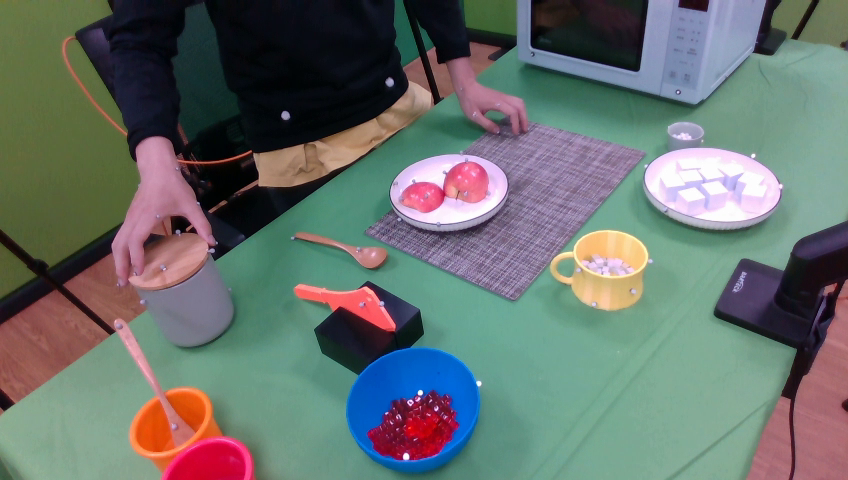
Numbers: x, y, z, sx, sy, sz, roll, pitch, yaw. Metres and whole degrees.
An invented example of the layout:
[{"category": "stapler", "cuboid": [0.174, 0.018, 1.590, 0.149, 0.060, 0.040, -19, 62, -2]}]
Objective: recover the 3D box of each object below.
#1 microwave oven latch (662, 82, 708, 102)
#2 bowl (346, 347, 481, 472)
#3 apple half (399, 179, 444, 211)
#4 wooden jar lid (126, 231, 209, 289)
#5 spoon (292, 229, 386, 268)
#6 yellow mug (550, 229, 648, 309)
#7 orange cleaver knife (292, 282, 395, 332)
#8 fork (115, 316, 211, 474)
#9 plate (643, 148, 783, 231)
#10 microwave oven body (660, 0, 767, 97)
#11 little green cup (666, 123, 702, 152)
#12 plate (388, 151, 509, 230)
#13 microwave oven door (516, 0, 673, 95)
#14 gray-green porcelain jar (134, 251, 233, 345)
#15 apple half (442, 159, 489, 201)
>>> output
[{"category": "microwave oven latch", "cuboid": [0.517, -0.298, 1.203, 0.078, 0.029, 0.030, 28, 53, 35]}, {"category": "bowl", "cuboid": [-0.008, 0.205, 0.691, 0.151, 0.077, 0.150, -4, 40, 4]}, {"category": "apple half", "cuboid": [-0.004, -0.087, 1.045, 0.081, 0.033, 0.081, -2, 42, 2]}, {"category": "wooden jar lid", "cuboid": [-0.340, 0.030, 0.809, 0.108, 0.021, 0.108, -5, 39, 5]}, {"category": "spoon", "cuboid": [-0.141, 0.007, 0.982, 0.192, 0.022, 0.041, 17, 68, 25]}, {"category": "yellow mug", "cuboid": [0.245, 0.040, 0.857, 0.130, 0.064, 0.099, 1, 42, 11]}, {"category": "orange cleaver knife", "cuboid": [-0.116, 0.091, 0.835, 0.209, 0.077, 0.012, 2, 32, 48]}, {"category": "fork", "cuboid": [-0.308, 0.179, 0.708, 0.028, 0.018, 0.207, -30, 89, -22]}, {"category": "plate", "cuboid": [0.464, -0.080, 0.986, 0.207, 0.039, 0.206, -4, 41, 4]}, {"category": "microwave oven body", "cuboid": [0.473, -0.517, 1.314, 0.438, 0.261, 0.327, 26, 51, 34]}, {"category": "little green cup", "cuboid": [0.472, -0.183, 1.102, 0.061, 0.039, 0.061, -5, 40, 5]}, {"category": "plate", "cuboid": [0.044, -0.082, 1.042, 0.209, 0.038, 0.208, -4, 40, 4]}, {"category": "microwave oven door", "cuboid": [0.344, -0.458, 1.256, 0.353, 0.245, 0.039, 26, 51, 33]}, {"category": "gray-green porcelain jar", "cuboid": [-0.334, 0.076, 0.849, 0.106, 0.127, 0.105, -4, 41, 4]}, {"category": "apple half", "cuboid": [0.074, -0.110, 1.047, 0.080, 0.053, 0.075, 21, 45, 30]}]
